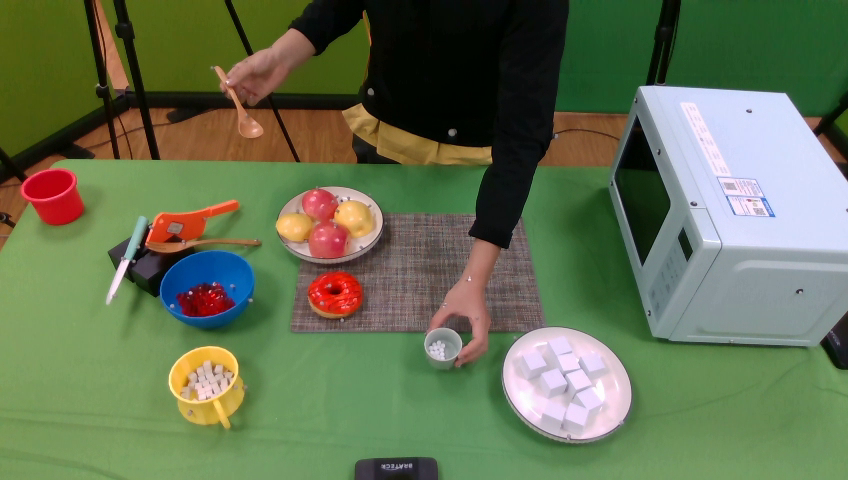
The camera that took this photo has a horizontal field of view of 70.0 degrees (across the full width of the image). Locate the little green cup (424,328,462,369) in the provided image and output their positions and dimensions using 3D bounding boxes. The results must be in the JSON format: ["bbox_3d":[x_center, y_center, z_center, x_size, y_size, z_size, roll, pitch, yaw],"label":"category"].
[{"bbox_3d":[0.030,0.178,0.981,0.061,0.039,0.061,1,53,-1],"label":"little green cup"}]

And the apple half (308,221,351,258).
[{"bbox_3d":[-0.180,-0.005,1.150,0.074,0.053,0.080,14,43,9],"label":"apple half"}]

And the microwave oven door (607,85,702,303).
[{"bbox_3d":[0.423,-0.094,1.140,0.039,0.245,0.353,2,46,-1],"label":"microwave oven door"}]

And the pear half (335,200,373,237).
[{"bbox_3d":[-0.146,-0.058,1.209,0.076,0.056,0.109,-17,41,-25],"label":"pear half"}]

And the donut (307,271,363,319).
[{"bbox_3d":[-0.157,0.097,1.072,0.099,0.048,0.098,4,45,-4],"label":"donut"}]

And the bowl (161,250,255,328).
[{"bbox_3d":[-0.362,0.097,1.040,0.151,0.077,0.150,2,45,-2],"label":"bowl"}]

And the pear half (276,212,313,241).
[{"bbox_3d":[-0.244,-0.035,1.178,0.070,0.031,0.088,40,41,1],"label":"pear half"}]

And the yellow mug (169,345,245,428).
[{"bbox_3d":[-0.322,0.230,0.922,0.100,0.064,0.130,-24,53,-25],"label":"yellow mug"}]

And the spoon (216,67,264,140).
[{"bbox_3d":[-0.349,-0.258,1.134,0.041,0.022,0.193,-22,70,-21],"label":"spoon"}]

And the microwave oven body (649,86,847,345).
[{"bbox_3d":[0.568,-0.053,1.118,0.326,0.261,0.439,2,45,-1],"label":"microwave oven body"}]

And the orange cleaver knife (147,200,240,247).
[{"bbox_3d":[-0.435,-0.033,1.157,0.012,0.077,0.211,31,26,18],"label":"orange cleaver knife"}]

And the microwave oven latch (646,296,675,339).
[{"bbox_3d":[0.412,0.134,1.061,0.030,0.029,0.078,4,45,1],"label":"microwave oven latch"}]

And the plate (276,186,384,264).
[{"bbox_3d":[-0.184,-0.027,1.195,0.209,0.038,0.208,2,46,-2],"label":"plate"}]

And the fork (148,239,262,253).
[{"bbox_3d":[-0.398,0.008,1.117,0.208,0.019,0.028,-5,34,-37],"label":"fork"}]

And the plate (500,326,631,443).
[{"bbox_3d":[0.224,0.233,0.978,0.208,0.039,0.206,2,46,-2],"label":"plate"}]

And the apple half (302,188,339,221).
[{"bbox_3d":[-0.204,-0.076,1.216,0.081,0.033,0.081,18,46,-20],"label":"apple half"}]

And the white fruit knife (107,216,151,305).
[{"bbox_3d":[-0.518,0.032,1.066,0.027,0.016,0.206,-18,45,19],"label":"white fruit knife"}]
